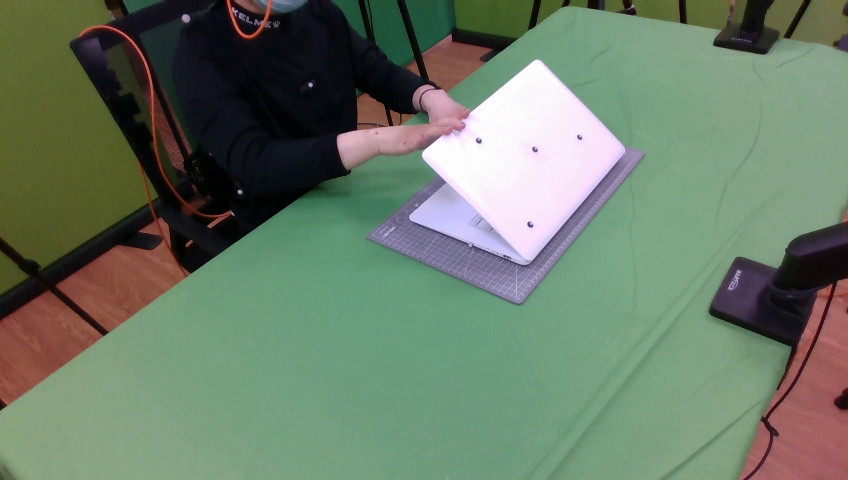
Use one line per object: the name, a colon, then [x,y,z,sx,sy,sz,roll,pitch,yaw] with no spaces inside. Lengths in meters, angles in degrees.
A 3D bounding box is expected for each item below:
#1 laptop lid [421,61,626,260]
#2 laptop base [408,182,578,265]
laptop lid: [0.180,-0.147,0.992,0.241,0.013,0.358,46,56,3]
laptop base: [0.168,-0.095,1.057,0.233,0.023,0.355,20,47,32]
